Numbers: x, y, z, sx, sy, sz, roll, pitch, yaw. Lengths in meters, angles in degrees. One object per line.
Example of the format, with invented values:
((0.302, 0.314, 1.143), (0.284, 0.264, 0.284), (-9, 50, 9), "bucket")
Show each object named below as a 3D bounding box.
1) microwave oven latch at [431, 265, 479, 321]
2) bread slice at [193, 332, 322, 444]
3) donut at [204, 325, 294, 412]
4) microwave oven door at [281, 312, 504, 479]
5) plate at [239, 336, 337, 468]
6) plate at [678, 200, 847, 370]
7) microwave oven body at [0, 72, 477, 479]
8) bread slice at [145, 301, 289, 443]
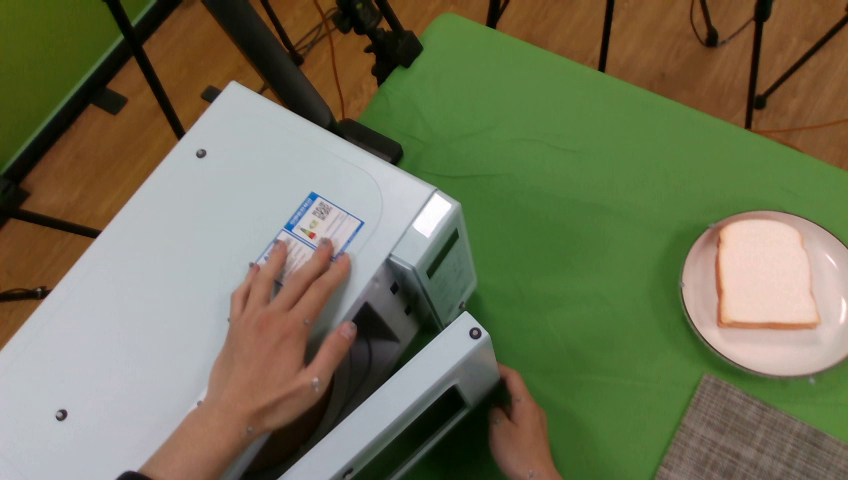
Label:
((0.038, 0.060, 0.758), (0.030, 0.030, 0.079), (33, 78, 19), "microwave oven latch")
((-0.203, 0.180, 0.725), (0.131, 0.019, 0.104), (-27, 66, -30), "bread slice")
((-0.196, 0.144, 0.683), (0.099, 0.048, 0.098), (1, 65, -3), "donut")
((-0.067, 0.224, 0.599), (0.355, 0.246, 0.039), (-41, 67, -8), "microwave oven door")
((-0.200, 0.155, 0.705), (0.209, 0.038, 0.207), (-2, 71, 6), "plate")
((0.409, 0.053, 0.721), (0.207, 0.039, 0.206), (-3, 68, 8), "plate")
((-0.196, 0.099, 0.676), (0.324, 0.262, 0.440), (30, 76, 18), "microwave oven body")
((-0.216, 0.132, 0.657), (0.106, 0.018, 0.134), (42, 71, 11), "bread slice")
